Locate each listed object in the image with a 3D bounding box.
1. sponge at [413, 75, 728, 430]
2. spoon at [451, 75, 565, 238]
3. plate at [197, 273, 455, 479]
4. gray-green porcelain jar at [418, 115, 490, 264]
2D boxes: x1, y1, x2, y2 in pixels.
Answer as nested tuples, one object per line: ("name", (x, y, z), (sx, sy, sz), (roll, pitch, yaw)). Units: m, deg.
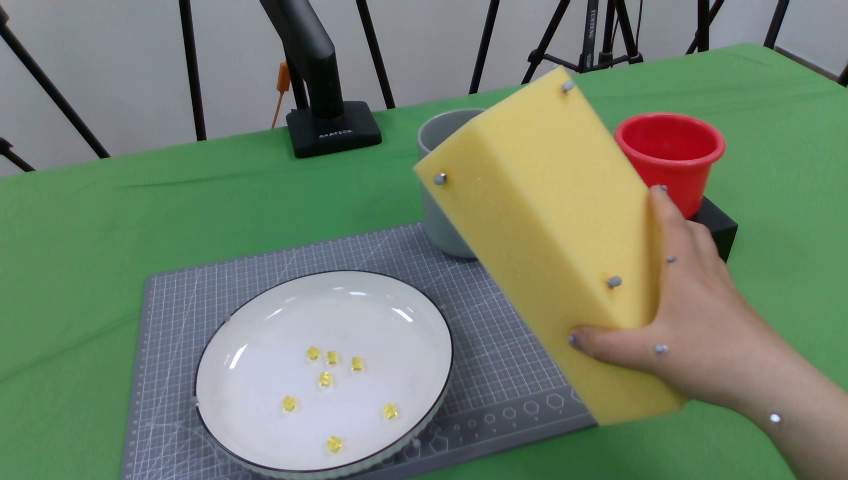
("sponge", (0.103, 0.005, 0.401), (0.207, 0.061, 0.118), (53, 47, -4))
("spoon", (0.079, -0.076, 0.593), (0.022, 0.194, 0.041), (21, 31, -14))
("plate", (-0.077, 0.109, 0.503), (0.207, 0.039, 0.205), (-2, 38, 2))
("gray-green porcelain jar", (0.050, -0.047, 0.618), (0.106, 0.127, 0.105), (-2, 39, 2))
